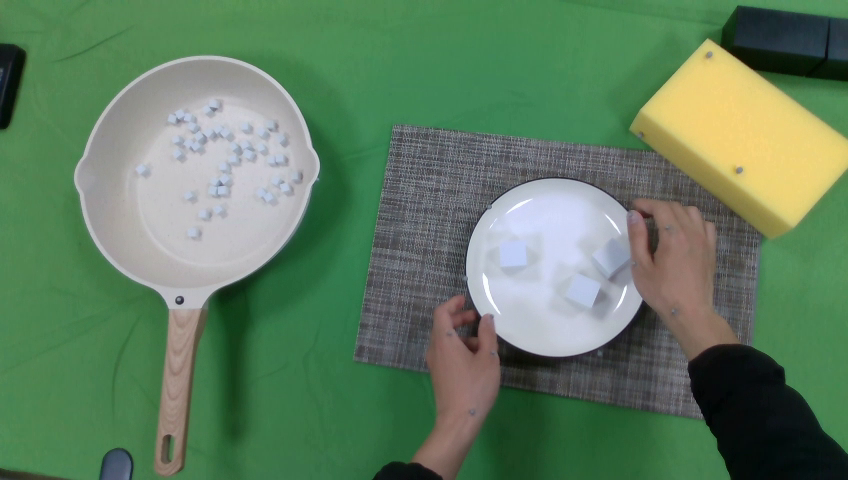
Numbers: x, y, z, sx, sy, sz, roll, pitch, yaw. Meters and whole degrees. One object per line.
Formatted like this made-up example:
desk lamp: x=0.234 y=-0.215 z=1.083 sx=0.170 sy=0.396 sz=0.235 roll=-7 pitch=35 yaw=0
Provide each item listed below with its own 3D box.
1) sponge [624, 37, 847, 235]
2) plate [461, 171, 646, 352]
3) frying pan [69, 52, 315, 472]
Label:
sponge: x=0.354 y=-0.118 z=0.693 sx=0.206 sy=0.061 sz=0.118 roll=42 pitch=86 yaw=12
plate: x=0.147 y=0.025 z=0.704 sx=0.207 sy=0.039 sz=0.207 roll=-1 pitch=81 yaw=6
frying pan: x=-0.279 y=0.017 z=0.721 sx=0.306 sy=0.103 sz=0.485 roll=0 pitch=73 yaw=7
